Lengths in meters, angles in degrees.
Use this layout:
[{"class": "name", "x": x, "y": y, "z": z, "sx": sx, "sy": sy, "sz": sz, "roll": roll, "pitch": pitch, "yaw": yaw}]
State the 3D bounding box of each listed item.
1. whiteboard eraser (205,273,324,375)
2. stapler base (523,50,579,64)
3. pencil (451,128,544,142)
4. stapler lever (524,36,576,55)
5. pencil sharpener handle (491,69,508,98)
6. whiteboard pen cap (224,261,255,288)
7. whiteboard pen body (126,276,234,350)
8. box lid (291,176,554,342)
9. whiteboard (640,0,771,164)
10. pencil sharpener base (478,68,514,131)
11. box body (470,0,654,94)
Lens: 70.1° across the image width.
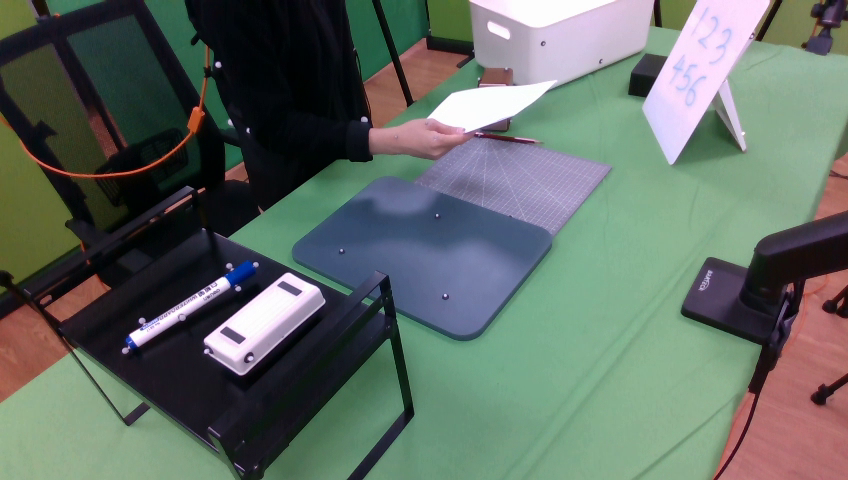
[{"class": "whiteboard eraser", "x": -0.157, "y": 0.084, "z": 0.605, "sx": 0.055, "sy": 0.042, "sz": 0.113, "roll": 24, "pitch": 49, "yaw": 30}, {"class": "stapler base", "x": 0.301, "y": -0.436, "z": 1.434, "sx": 0.130, "sy": 0.024, "sz": 0.041, "roll": 5, "pitch": 40, "yaw": 16}, {"class": "pencil", "x": 0.146, "y": -0.208, "z": 1.204, "sx": 0.193, "sy": 0.012, "sz": 0.012, "roll": 10, "pitch": 43, "yaw": 20}, {"class": "stapler lever", "x": 0.296, "y": -0.456, "z": 1.418, "sx": 0.117, "sy": 0.040, "sz": 0.027, "roll": 4, "pitch": 40, "yaw": 17}, {"class": "pencil sharpener handle", "x": 0.155, "y": -0.329, "z": 1.254, "sx": 0.036, "sy": 0.068, "sz": 0.030, "roll": 17, "pitch": 43, "yaw": 4}, {"class": "whiteboard pen cap", "x": -0.207, "y": 0.039, "z": 0.677, "sx": 0.033, "sy": 0.018, "sz": 0.018, "roll": -36, "pitch": 47, "yaw": -18}, {"class": "whiteboard pen body", "x": -0.251, "y": 0.070, "z": 0.649, "sx": 0.141, "sy": 0.017, "sz": 0.017, "roll": -36, "pitch": 48, "yaw": -26}, {"class": "box lid", "x": -0.005, "y": 0.011, "z": 0.972, "sx": 0.368, "sy": 0.015, "sz": 0.264, "roll": 21, "pitch": 49, "yaw": 30}, {"class": "whiteboard", "x": 0.543, "y": -0.299, "z": 1.076, "sx": 0.144, "sy": 0.305, "sz": 0.216, "roll": 12, "pitch": 40, "yaw": -7}, {"class": "pencil sharpener base", "x": 0.148, "y": -0.286, "z": 1.225, "sx": 0.061, "sy": 0.107, "sz": 0.076, "roll": 5, "pitch": 42, "yaw": 15}, {"class": "box body", "x": 0.319, "y": -0.498, "z": 1.405, "sx": 0.365, "sy": 0.161, "sz": 0.252, "roll": -26, "pitch": 43, "yaw": -21}]
